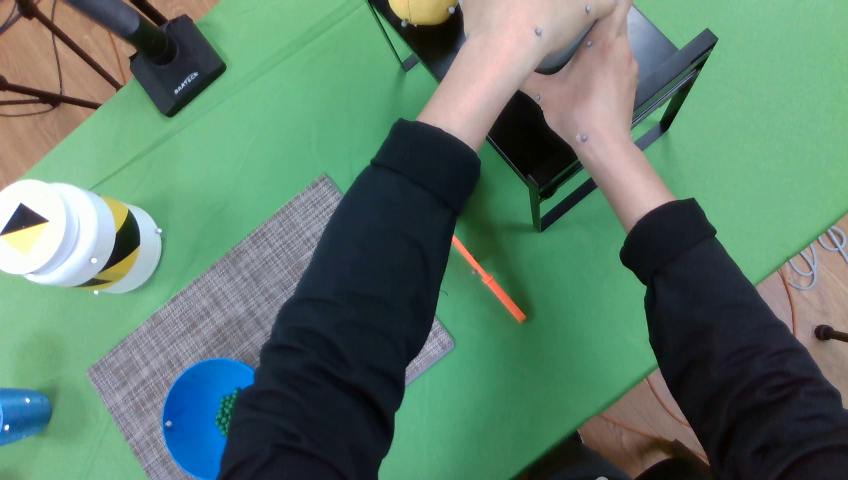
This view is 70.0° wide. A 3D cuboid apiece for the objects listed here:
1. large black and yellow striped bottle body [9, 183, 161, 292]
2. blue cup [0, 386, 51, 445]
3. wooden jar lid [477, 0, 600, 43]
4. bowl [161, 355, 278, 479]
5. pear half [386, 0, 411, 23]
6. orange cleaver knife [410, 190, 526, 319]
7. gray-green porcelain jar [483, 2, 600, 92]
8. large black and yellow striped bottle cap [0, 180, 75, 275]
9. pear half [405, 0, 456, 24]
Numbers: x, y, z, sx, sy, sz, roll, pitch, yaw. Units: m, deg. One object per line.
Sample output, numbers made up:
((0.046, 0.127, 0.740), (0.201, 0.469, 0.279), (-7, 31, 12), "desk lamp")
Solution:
((-0.461, -0.001, 0.810), (0.130, 0.185, 0.130), (-2, 81, 11), "large black and yellow striped bottle body")
((-0.580, 0.242, 0.839), (0.092, 0.100, 0.092), (-1, 82, 9), "blue cup")
((0.098, -0.216, 0.512), (0.108, 0.021, 0.108), (-1, 85, 12), "wooden jar lid")
((-0.250, 0.224, 0.788), (0.151, 0.077, 0.151), (-2, 82, 11), "bowl")
((-0.028, -0.264, 0.629), (0.031, 0.088, 0.070), (-6, 84, 9), "pear half")
((0.055, 0.018, 0.762), (0.012, 0.076, 0.212), (-42, 106, -1), "orange cleaver knife")
((0.111, -0.208, 0.577), (0.105, 0.127, 0.105), (-2, 82, 12), "gray-green porcelain jar")
((-0.476, -0.016, 0.728), (0.115, 0.019, 0.114), (-1, 83, 11), "large black and yellow striped bottle cap")
((0.005, -0.267, 0.613), (0.056, 0.110, 0.076), (-6, 84, 10), "pear half")
